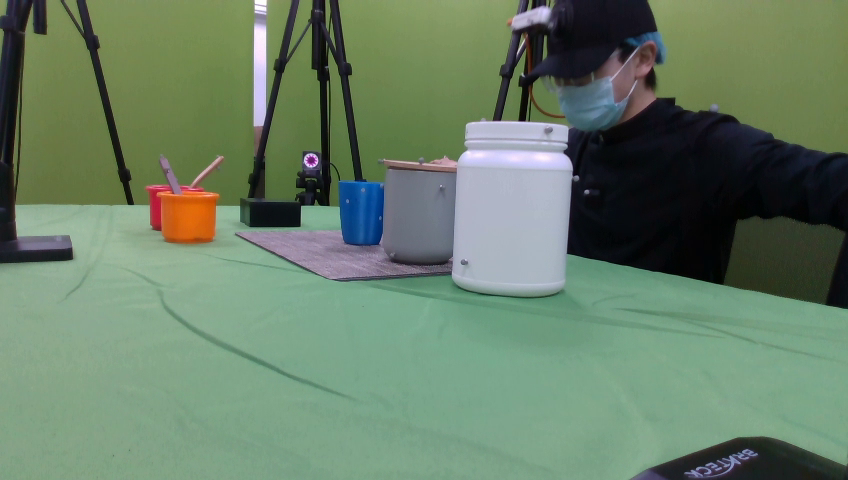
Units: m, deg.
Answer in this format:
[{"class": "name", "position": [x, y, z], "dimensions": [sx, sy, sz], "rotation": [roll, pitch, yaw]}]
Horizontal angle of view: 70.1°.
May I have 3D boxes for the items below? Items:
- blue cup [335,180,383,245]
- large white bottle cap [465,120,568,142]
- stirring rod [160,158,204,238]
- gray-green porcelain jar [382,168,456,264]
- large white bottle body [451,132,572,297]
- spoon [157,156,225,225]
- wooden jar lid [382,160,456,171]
[{"class": "blue cup", "position": [-0.100, -0.046, 0.987], "dimensions": [0.093, 0.100, 0.092], "rotation": [3, 8, 0]}, {"class": "large white bottle cap", "position": [0.103, -0.121, 0.677], "dimensions": [0.115, 0.018, 0.115], "rotation": [3, 7, 0]}, {"class": "stirring rod", "position": [-0.390, -0.070, 0.972], "dimensions": [0.014, 0.006, 0.175], "rotation": [-3, 51, -48]}, {"class": "gray-green porcelain jar", "position": [-0.005, -0.034, 0.834], "dimensions": [0.106, 0.126, 0.106], "rotation": [3, 7, 0]}, {"class": "large white bottle body", "position": [0.099, -0.037, 0.688], "dimensions": [0.131, 0.184, 0.130], "rotation": [2, 7, 0]}, {"class": "spoon", "position": [-0.425, -0.094, 1.117], "dimensions": [0.041, 0.022, 0.194], "rotation": [4, 51, 30]}, {"class": "wooden jar lid", "position": [-0.003, -0.096, 0.826], "dimensions": [0.108, 0.020, 0.108], "rotation": [4, 10, 0]}]
